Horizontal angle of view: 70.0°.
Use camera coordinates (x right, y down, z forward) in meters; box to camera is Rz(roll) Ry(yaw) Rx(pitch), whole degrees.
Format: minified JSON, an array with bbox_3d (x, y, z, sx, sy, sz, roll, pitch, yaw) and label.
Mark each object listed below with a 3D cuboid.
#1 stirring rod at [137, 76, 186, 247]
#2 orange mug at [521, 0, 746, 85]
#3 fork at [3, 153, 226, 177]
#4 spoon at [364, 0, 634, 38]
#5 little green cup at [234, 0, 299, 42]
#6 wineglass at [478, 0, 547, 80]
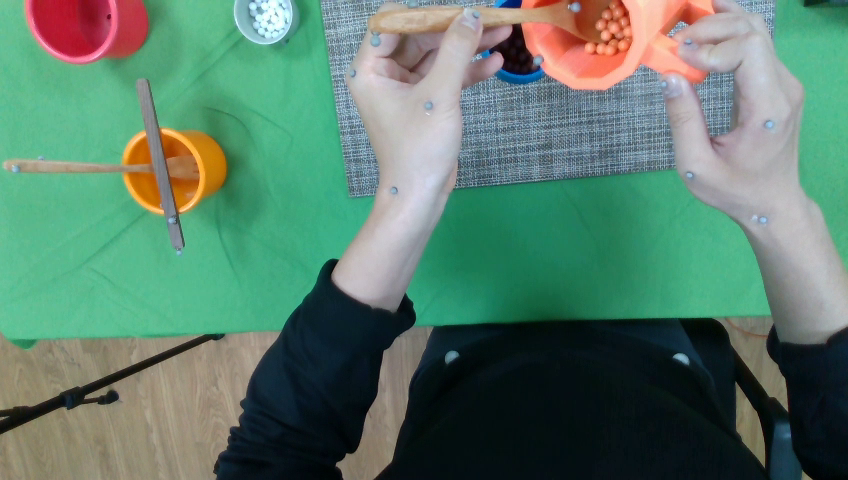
[{"bbox_3d":[-0.270,-0.078,0.625,0.014,0.006,0.177,-4,105,8],"label":"stirring rod"},{"bbox_3d":[0.138,-0.153,0.393,0.125,0.100,0.084,38,149,18],"label":"orange mug"},{"bbox_3d":[-0.312,-0.078,0.631,0.208,0.018,0.028,-5,118,-37],"label":"fork"},{"bbox_3d":[0.056,-0.144,0.379,0.194,0.021,0.042,-12,121,-22],"label":"spoon"},{"bbox_3d":[-0.161,-0.236,0.628,0.061,0.038,0.062,2,106,7],"label":"little green cup"},{"bbox_3d":[0.085,-0.180,0.543,0.073,0.171,0.074,2,105,6],"label":"wineglass"}]
